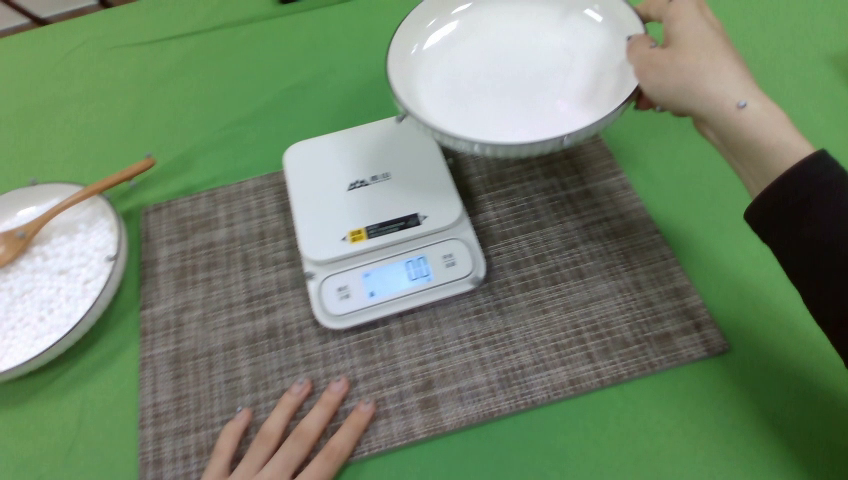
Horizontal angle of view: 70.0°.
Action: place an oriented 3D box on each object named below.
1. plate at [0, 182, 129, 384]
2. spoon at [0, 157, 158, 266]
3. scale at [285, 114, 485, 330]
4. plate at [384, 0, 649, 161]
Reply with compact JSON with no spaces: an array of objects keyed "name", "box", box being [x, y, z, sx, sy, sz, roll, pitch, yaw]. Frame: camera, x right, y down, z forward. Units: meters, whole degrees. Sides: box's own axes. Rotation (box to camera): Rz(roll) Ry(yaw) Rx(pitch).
[{"name":"plate","box":[-0.366,0.038,0.548,0.209,0.038,0.207,-3,56,5]},{"name":"spoon","box":[-0.338,-0.027,0.568,0.194,0.022,0.041,-32,57,-5]},{"name":"scale","box":[-0.041,-0.026,0.542,0.149,0.032,0.198,-17,56,-3]},{"name":"plate","box":[0.072,-0.141,0.495,0.207,0.039,0.205,-4,57,6]}]
